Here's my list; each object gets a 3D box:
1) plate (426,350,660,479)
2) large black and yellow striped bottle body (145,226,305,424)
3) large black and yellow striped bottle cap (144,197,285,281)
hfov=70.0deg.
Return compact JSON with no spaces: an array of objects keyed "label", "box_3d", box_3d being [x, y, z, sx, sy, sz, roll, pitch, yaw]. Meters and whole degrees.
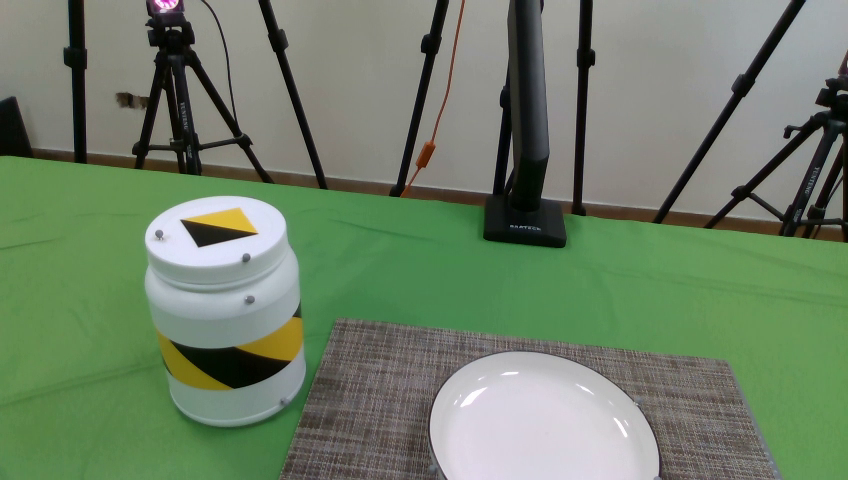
[{"label":"plate","box_3d":[0.104,0.185,0.552,0.208,0.039,0.205,3,33,-2]},{"label":"large black and yellow striped bottle body","box_3d":[-0.183,0.066,0.571,0.131,0.185,0.129,3,34,-2]},{"label":"large black and yellow striped bottle cap","box_3d":[-0.179,-0.004,0.524,0.115,0.019,0.114,4,32,-2]}]
